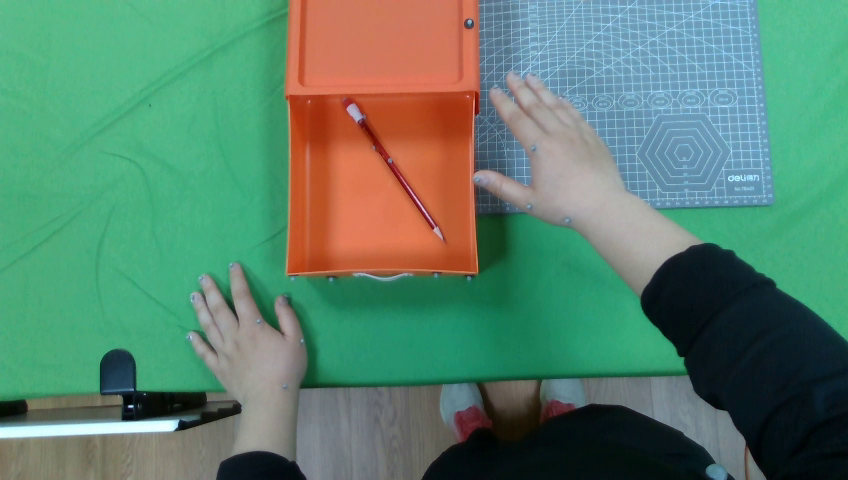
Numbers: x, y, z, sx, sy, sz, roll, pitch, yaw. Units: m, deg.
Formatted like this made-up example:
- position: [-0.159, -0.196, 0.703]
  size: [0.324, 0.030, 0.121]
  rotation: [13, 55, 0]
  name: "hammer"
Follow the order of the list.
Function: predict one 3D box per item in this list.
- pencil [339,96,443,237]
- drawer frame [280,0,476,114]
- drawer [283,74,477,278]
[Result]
- position: [-0.036, -0.082, 0.667]
  size: [0.012, 0.012, 0.193]
  rotation: [-36, 85, -1]
  name: "pencil"
- position: [-0.046, -0.244, 0.655]
  size: [0.201, 0.083, 0.213]
  rotation: [-2, 82, 5]
  name: "drawer frame"
- position: [-0.044, -0.066, 0.638]
  size: [0.194, 0.073, 0.211]
  rotation: [-1, 85, 4]
  name: "drawer"
